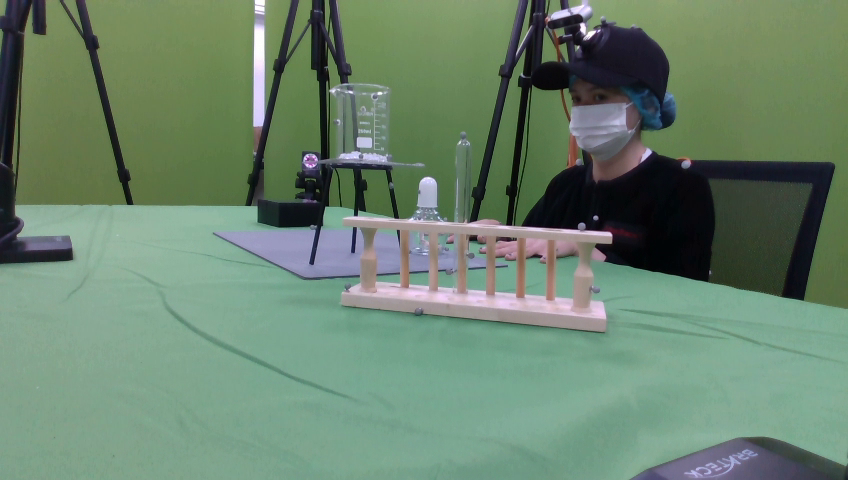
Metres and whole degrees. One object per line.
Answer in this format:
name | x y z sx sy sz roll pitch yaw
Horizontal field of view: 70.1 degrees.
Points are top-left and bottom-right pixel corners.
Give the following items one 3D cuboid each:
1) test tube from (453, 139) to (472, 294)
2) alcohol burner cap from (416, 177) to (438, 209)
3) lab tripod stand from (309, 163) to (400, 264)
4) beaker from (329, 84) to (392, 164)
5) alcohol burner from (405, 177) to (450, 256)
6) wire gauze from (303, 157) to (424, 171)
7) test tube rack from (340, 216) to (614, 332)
test tube | 0.037 -0.021 0.584 0.017 0.150 0.017 1 7 0
alcohol burner cap | 0.005 -0.072 0.914 0.034 0.048 0.034 3 9 0
lab tripod stand | -0.091 -0.037 0.813 0.148 0.131 0.148 1 6 0
beaker | -0.084 -0.149 0.794 0.084 0.100 0.073 -1 6 -23
alcohol burner | 0.004 -0.036 0.917 0.078 0.119 0.078 3 5 0
wire gauze | -0.082 -0.101 0.799 0.126 0.011 0.121 1 7 -30
test tube rack | 0.048 0.026 0.568 0.242 0.085 0.067 4 7 13
